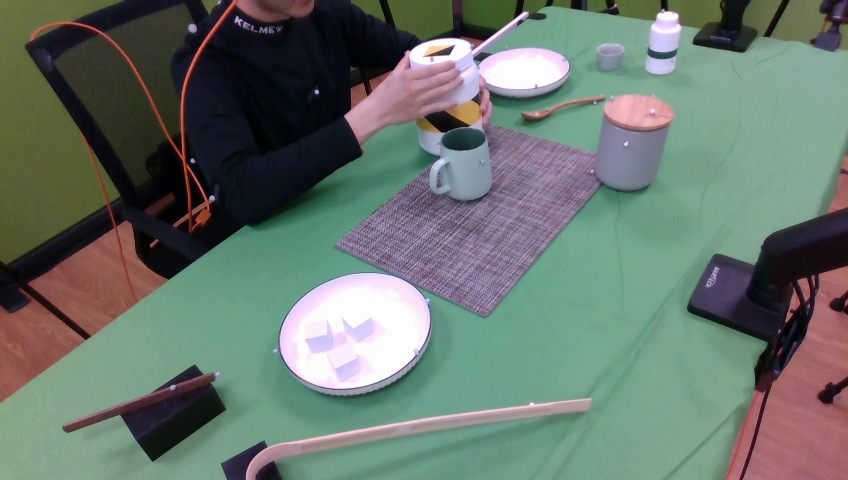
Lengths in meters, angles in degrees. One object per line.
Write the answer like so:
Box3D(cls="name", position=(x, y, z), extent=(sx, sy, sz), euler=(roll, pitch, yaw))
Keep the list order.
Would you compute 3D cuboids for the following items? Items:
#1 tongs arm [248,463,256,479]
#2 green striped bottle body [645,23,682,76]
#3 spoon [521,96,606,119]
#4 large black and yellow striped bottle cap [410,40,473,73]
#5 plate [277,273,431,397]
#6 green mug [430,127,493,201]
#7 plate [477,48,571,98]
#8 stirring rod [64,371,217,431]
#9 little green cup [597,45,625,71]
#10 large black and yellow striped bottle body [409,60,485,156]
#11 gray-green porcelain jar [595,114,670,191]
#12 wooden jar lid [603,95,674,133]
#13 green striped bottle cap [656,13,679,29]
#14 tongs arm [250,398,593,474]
Box3D(cls="tongs arm", position=(0.012, 0.262, 0.615), extent=(0.385, 0.026, 0.050), euler=(3, 42, -2))
Box3D(cls="green striped bottle body", position=(0.520, -0.424, 1.312), extent=(0.063, 0.120, 0.063), euler=(-4, 41, 4))
Box3D(cls="spoon", position=(0.291, -0.277, 1.249), extent=(0.194, 0.022, 0.041), euler=(-17, 25, -11))
Box3D(cls="large black and yellow striped bottle cap", position=(0.030, -0.333, 1.094), extent=(0.115, 0.019, 0.114), euler=(-6, 37, 5))
Box3D(cls="plate", position=(-0.091, 0.129, 0.821), extent=(0.207, 0.039, 0.206), euler=(-4, 40, 4))
Box3D(cls="green mug", position=(0.059, -0.122, 1.034), extent=(0.126, 0.105, 0.091), euler=(-35, 48, -28))
Box3D(cls="plate", position=(0.223, -0.371, 1.357), extent=(0.209, 0.038, 0.208), euler=(-4, 41, 4))
Box3D(cls="stirring rod", position=(-0.337, 0.192, 0.723), extent=(0.177, 0.014, 0.005), euler=(-18, 43, -12))
Box3D(cls="little green cup", position=(0.423, -0.413, 1.375), extent=(0.061, 0.039, 0.061), euler=(-3, 41, 3))
Box3D(cls="large black and yellow striped bottle body", position=(0.043, -0.268, 1.147), extent=(0.130, 0.185, 0.130), euler=(-7, 38, 6))
Box3D(cls="gray-green porcelain jar", position=(0.346, -0.154, 1.017), extent=(0.106, 0.127, 0.105), euler=(-2, 43, 2))
Box3D(cls="wooden jar lid", position=(0.343, -0.200, 0.974), extent=(0.108, 0.021, 0.108), euler=(-2, 39, 2))
Box3D(cls="green striped bottle cap", position=(0.515, -0.463, 1.278), extent=(0.044, 0.020, 0.044), euler=(-6, 42, 6))
Box3D(cls="tongs arm", position=(0.008, 0.212, 0.675), extent=(0.389, 0.028, 0.028), euler=(-5, 46, -11))
